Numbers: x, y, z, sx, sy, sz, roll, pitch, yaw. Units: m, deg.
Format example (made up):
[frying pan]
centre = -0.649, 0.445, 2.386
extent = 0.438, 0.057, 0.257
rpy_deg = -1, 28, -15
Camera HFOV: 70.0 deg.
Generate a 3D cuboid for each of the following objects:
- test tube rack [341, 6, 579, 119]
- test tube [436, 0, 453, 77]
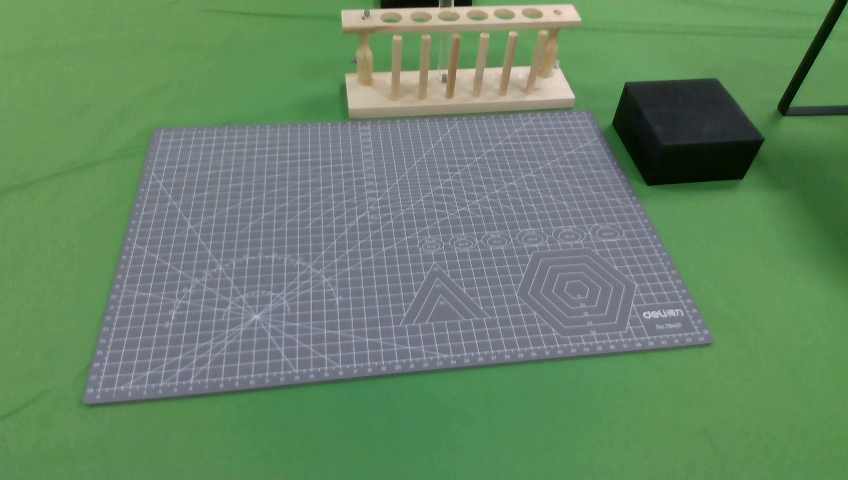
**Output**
[test tube rack]
centre = 0.038, -0.187, 0.634
extent = 0.243, 0.086, 0.066
rpy_deg = -4, 48, -8
[test tube]
centre = 0.021, -0.233, 0.607
extent = 0.017, 0.151, 0.017
rpy_deg = 1, 45, 0
